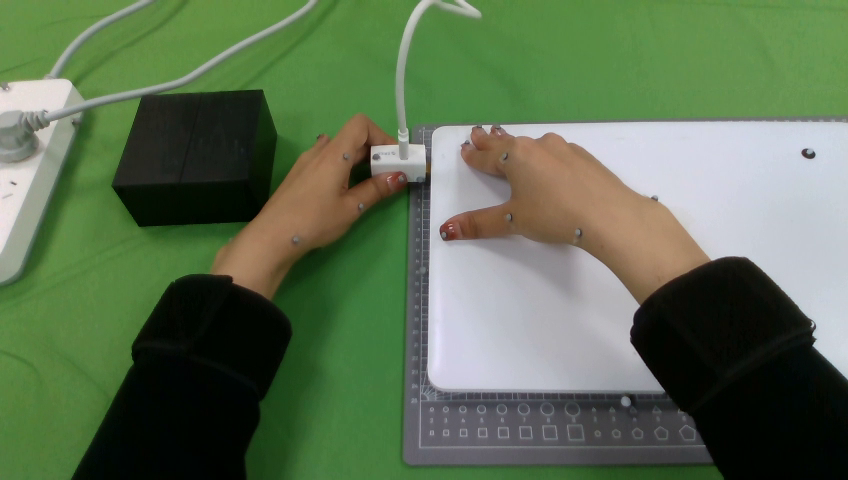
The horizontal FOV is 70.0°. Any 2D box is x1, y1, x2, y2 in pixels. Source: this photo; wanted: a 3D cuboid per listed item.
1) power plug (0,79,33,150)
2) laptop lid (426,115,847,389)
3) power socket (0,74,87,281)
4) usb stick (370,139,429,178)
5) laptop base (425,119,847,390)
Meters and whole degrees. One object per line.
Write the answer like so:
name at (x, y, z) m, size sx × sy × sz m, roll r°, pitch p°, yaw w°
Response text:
power plug at (-0.336, -0.103, 0.472) m, size 0.053 × 0.073 × 0.035 m, roll 7°, pitch 38°, yaw -21°
laptop lid at (0.178, -0.004, 0.443) m, size 0.356 × 0.013 × 0.239 m, roll 1°, pitch 57°, yaw 3°
power socket at (-0.345, -0.059, 0.503) m, size 0.072 × 0.033 × 0.224 m, roll -2°, pitch 54°, yaw -1°
usb stick at (-0.014, -0.065, 0.488) m, size 0.059 × 0.027 × 0.021 m, roll 0°, pitch 51°, yaw -7°
laptop base at (0.179, 0.001, 0.453) m, size 0.354 × 0.023 × 0.233 m, roll 0°, pitch 58°, yaw 2°
